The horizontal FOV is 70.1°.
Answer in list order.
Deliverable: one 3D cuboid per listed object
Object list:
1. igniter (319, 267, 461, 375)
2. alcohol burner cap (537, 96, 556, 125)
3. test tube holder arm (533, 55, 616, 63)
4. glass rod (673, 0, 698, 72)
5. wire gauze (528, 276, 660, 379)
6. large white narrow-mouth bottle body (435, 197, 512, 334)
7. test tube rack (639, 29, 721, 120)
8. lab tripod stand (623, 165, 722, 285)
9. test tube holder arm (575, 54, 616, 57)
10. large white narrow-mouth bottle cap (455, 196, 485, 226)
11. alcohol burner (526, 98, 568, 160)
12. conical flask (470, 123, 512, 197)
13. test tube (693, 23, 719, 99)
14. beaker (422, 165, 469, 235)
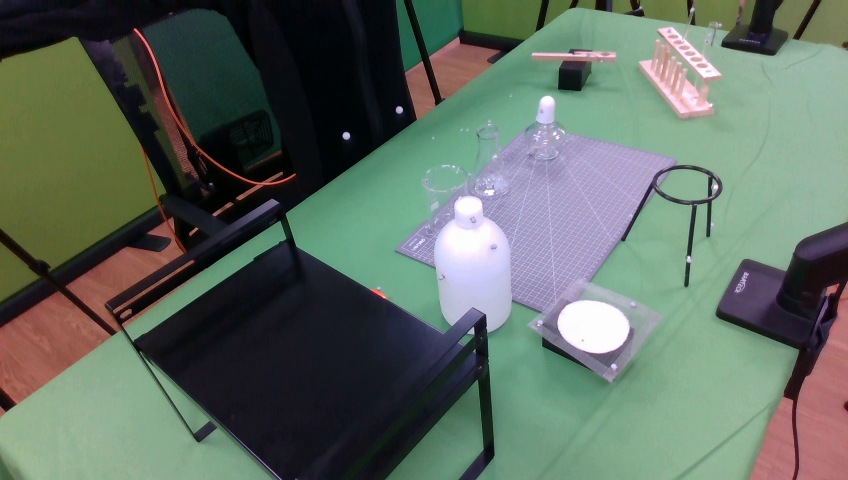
[{"bbox_3d":[-0.060,0.108,0.862,0.274,0.025,0.057,29,62,34],"label":"igniter"},{"bbox_3d":[0.223,-0.237,1.095,0.034,0.048,0.033,0,42,1],"label":"alcohol burner cap"},{"bbox_3d":[0.329,-0.398,1.327,0.178,0.015,0.013,5,51,15],"label":"test tube holder arm"},{"bbox_3d":[0.536,-0.424,1.244,0.008,0.200,0.008,0,48,0],"label":"glass rod"},{"bbox_3d":[0.213,0.103,0.763,0.124,0.011,0.122,30,52,35],"label":"wire gauze"},{"bbox_3d":[0.066,0.029,0.805,0.102,0.195,0.101,-4,40,4],"label":"large white narrow-mouth bottle body"},{"bbox_3d":[0.527,-0.351,1.262,0.067,0.085,0.241,-8,40,1],"label":"test tube rack"},{"bbox_3d":[0.365,-0.030,0.875,0.148,0.132,0.147,-6,41,6],"label":"lab tripod stand"},{"bbox_3d":[0.373,-0.398,1.318,0.087,0.015,0.010,5,51,16],"label":"test tube holder arm"},{"bbox_3d":[0.057,-0.037,0.749,0.038,0.024,0.037,-4,40,4],"label":"large white narrow-mouth bottle cap"},{"bbox_3d":[0.228,-0.210,1.118,0.078,0.119,0.077,-5,43,5],"label":"alcohol burner"},{"bbox_3d":[0.115,-0.139,1.046,0.075,0.122,0.075,-4,41,4],"label":"conical flask"},{"bbox_3d":[0.546,-0.345,1.175,0.017,0.151,0.017,-2,39,2],"label":"test tube"},{"bbox_3d":[0.041,-0.063,0.986,0.073,0.101,0.084,20,47,29],"label":"beaker"}]
